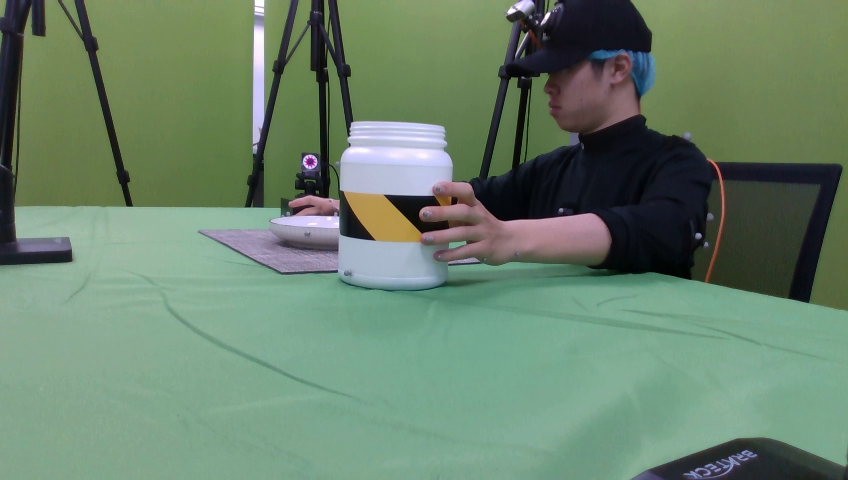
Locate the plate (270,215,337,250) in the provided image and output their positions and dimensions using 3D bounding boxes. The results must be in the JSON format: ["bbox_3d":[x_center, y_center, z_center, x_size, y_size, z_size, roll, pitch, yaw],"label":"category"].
[{"bbox_3d":[-0.146,-0.013,0.991,0.208,0.039,0.207,2,7,0],"label":"plate"}]

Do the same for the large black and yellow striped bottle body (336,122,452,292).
[{"bbox_3d":[-0.035,-0.041,0.703,0.131,0.184,0.130,3,7,0],"label":"large black and yellow striped bottle body"}]

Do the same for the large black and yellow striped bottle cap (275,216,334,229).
[{"bbox_3d":[-0.235,-0.034,1.197,0.115,0.019,0.115,2,7,0],"label":"large black and yellow striped bottle cap"}]
